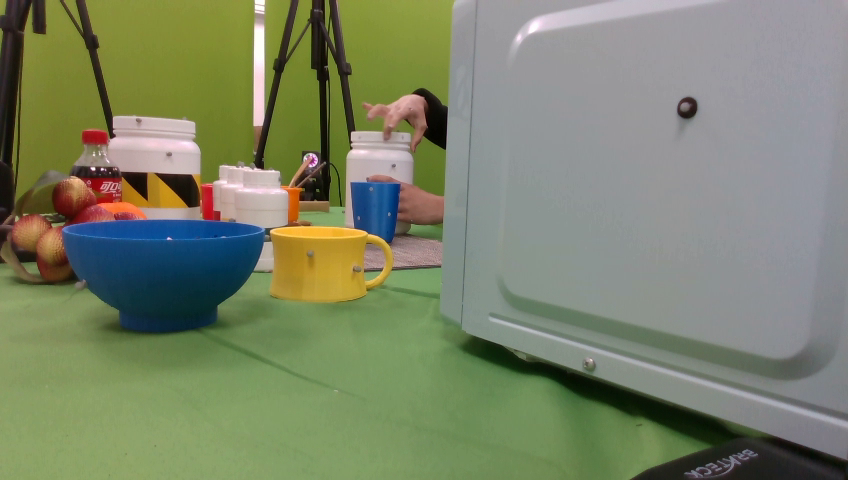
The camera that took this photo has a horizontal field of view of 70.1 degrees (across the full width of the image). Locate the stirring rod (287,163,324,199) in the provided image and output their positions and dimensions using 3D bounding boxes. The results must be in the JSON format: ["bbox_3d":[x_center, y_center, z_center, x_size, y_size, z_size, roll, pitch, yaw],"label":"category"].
[{"bbox_3d":[-0.278,-0.105,1.293,0.176,0.006,0.014,-46,25,-18],"label":"stirring rod"}]

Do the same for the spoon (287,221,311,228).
[{"bbox_3d":[-0.232,-0.027,1.116,0.041,0.021,0.193,-22,6,4],"label":"spoon"}]

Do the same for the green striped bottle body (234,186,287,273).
[{"bbox_3d":[-0.200,-0.023,0.743,0.063,0.119,0.063,2,7,0],"label":"green striped bottle body"}]

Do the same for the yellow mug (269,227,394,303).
[{"bbox_3d":[-0.094,0.023,0.629,0.131,0.064,0.099,0,7,-22],"label":"yellow mug"}]

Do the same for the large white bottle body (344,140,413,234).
[{"bbox_3d":[-0.087,-0.109,1.166,0.131,0.184,0.130,2,8,0],"label":"large white bottle body"}]

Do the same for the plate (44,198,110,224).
[{"bbox_3d":[-0.617,-0.056,1.179,0.209,0.038,0.209,3,7,0],"label":"plate"}]

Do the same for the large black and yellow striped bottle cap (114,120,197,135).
[{"bbox_3d":[-0.407,-0.171,0.920,0.115,0.019,0.115,2,9,0],"label":"large black and yellow striped bottle cap"}]

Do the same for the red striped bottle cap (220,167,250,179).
[{"bbox_3d":[-0.281,-0.099,0.901,0.044,0.017,0.044,-1,5,0],"label":"red striped bottle cap"}]

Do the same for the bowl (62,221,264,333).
[{"bbox_3d":[-0.209,0.029,0.496,0.151,0.077,0.151,2,7,0],"label":"bowl"}]

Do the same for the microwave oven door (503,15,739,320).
[{"bbox_3d":[0.218,-0.065,0.600,0.358,0.243,0.039,-4,10,-41],"label":"microwave oven door"}]

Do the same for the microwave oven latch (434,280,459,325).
[{"bbox_3d":[0.044,0.045,0.470,0.079,0.029,0.030,-2,8,-39],"label":"microwave oven latch"}]

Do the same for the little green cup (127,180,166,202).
[{"bbox_3d":[-0.485,-0.086,1.061,0.061,0.038,0.061,1,7,0],"label":"little green cup"}]

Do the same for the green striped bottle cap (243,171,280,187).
[{"bbox_3d":[-0.198,-0.074,0.736,0.044,0.020,0.044,1,7,0],"label":"green striped bottle cap"}]

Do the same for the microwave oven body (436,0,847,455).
[{"bbox_3d":[0.279,-0.040,0.465,0.444,0.260,0.324,-3,9,-41],"label":"microwave oven body"}]

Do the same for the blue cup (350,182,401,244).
[{"bbox_3d":[-0.082,-0.046,1.009,0.093,0.100,0.092,1,6,0],"label":"blue cup"}]

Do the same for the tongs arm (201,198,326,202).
[{"bbox_3d":[-0.433,-0.090,1.508,0.390,0.028,0.028,-1,2,-29],"label":"tongs arm"}]

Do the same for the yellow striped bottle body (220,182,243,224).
[{"bbox_3d":[-0.246,-0.036,0.825,0.063,0.120,0.063,3,8,0],"label":"yellow striped bottle body"}]

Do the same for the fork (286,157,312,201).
[{"bbox_3d":[-0.289,-0.116,1.321,0.028,0.018,0.207,7,52,18],"label":"fork"}]

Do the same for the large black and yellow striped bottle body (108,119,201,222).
[{"bbox_3d":[-0.412,-0.088,0.930,0.131,0.184,0.130,3,7,0],"label":"large black and yellow striped bottle body"}]

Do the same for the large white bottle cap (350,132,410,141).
[{"bbox_3d":[-0.084,-0.196,1.154,0.115,0.018,0.115,1,9,0],"label":"large white bottle cap"}]

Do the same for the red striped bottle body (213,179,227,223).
[{"bbox_3d":[-0.284,-0.048,0.909,0.063,0.119,0.063,3,12,0],"label":"red striped bottle body"}]

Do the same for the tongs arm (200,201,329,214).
[{"bbox_3d":[-0.378,-0.079,1.440,0.387,0.026,0.050,-4,8,-44],"label":"tongs arm"}]

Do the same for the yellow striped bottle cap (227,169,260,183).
[{"bbox_3d":[-0.243,-0.087,0.818,0.044,0.018,0.044,3,6,0],"label":"yellow striped bottle cap"}]
